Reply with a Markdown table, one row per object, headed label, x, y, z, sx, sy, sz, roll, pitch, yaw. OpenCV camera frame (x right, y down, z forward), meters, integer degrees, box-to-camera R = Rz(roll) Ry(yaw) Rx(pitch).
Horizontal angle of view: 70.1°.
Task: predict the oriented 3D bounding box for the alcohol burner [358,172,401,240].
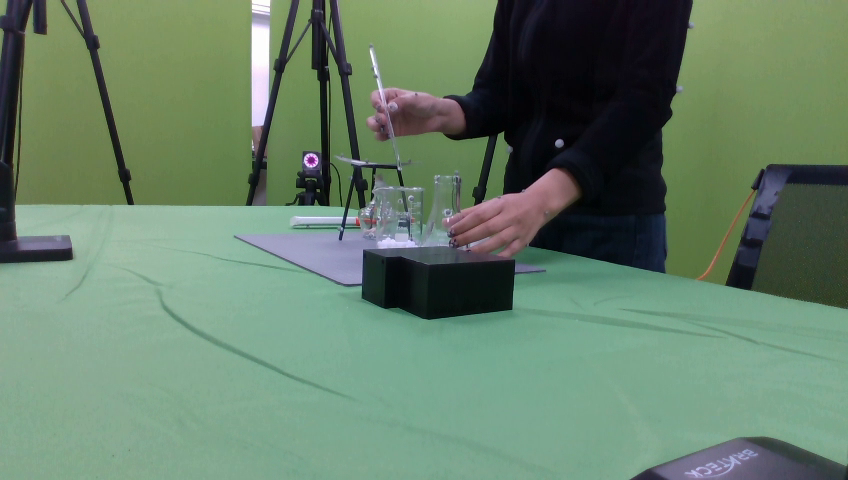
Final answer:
| label | x | y | z | sx | sy | sz | roll | pitch | yaw |
| --- | --- | --- | --- | --- | --- | --- | --- | --- | --- |
| alcohol burner | -0.077 | -0.061 | 1.065 | 0.078 | 0.119 | 0.078 | 4 | 9 | 0 |

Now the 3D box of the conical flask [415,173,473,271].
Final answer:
| label | x | y | z | sx | sy | sz | roll | pitch | yaw |
| --- | --- | --- | --- | --- | --- | --- | --- | --- | --- |
| conical flask | 0.028 | -0.024 | 0.777 | 0.075 | 0.122 | 0.075 | 2 | 8 | 0 |

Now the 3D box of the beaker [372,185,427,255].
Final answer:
| label | x | y | z | sx | sy | sz | roll | pitch | yaw |
| --- | --- | --- | --- | --- | --- | --- | --- | --- | --- |
| beaker | -0.038 | -0.031 | 0.905 | 0.084 | 0.100 | 0.073 | -1 | 8 | -21 |

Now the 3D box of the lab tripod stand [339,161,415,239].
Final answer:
| label | x | y | z | sx | sy | sz | roll | pitch | yaw |
| --- | --- | --- | --- | --- | --- | --- | --- | --- | --- |
| lab tripod stand | -0.082 | -0.070 | 1.059 | 0.148 | 0.131 | 0.148 | 4 | 6 | 0 |

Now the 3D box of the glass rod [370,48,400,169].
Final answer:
| label | x | y | z | sx | sy | sz | roll | pitch | yaw |
| --- | --- | --- | --- | --- | --- | --- | --- | --- | --- |
| glass rod | -0.059 | -0.198 | 0.903 | 0.008 | 0.199 | 0.008 | -12 | -12 | -2 |

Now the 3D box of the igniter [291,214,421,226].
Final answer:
| label | x | y | z | sx | sy | sz | roll | pitch | yaw |
| --- | --- | --- | --- | --- | --- | --- | --- | --- | --- |
| igniter | -0.135 | -0.041 | 1.250 | 0.278 | 0.025 | 0.057 | -1 | -2 | -28 |

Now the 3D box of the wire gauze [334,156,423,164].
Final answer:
| label | x | y | z | sx | sy | sz | roll | pitch | yaw |
| --- | --- | --- | --- | --- | --- | --- | --- | --- | --- |
| wire gauze | -0.081 | -0.137 | 1.051 | 0.122 | 0.011 | 0.124 | 0 | 8 | -30 |

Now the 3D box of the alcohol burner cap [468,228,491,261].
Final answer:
| label | x | y | z | sx | sy | sz | roll | pitch | yaw |
| --- | --- | --- | --- | --- | --- | --- | --- | --- | --- |
| alcohol burner cap | 0.081 | 0.006 | 0.878 | 0.034 | 0.048 | 0.034 | 4 | 6 | 0 |
